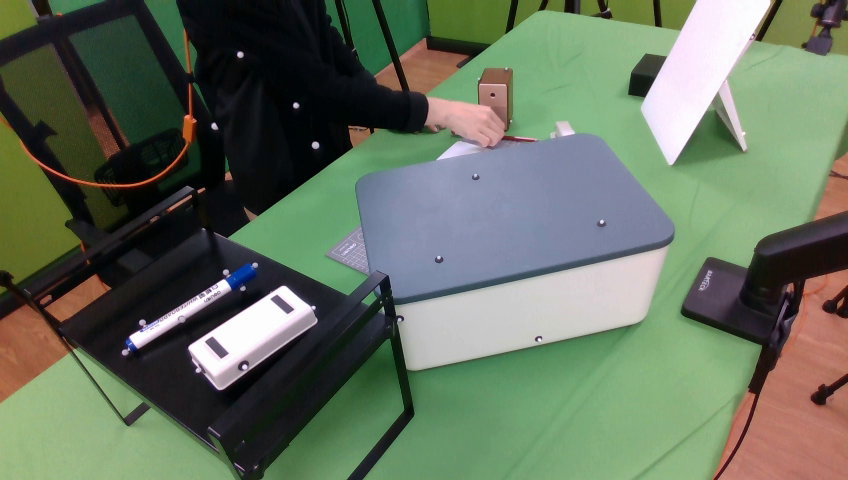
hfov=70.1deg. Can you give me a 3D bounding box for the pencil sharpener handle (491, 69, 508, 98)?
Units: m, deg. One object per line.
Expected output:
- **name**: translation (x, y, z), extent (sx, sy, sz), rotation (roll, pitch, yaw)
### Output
- **pencil sharpener handle**: translation (0.155, -0.329, 1.254), extent (0.036, 0.068, 0.030), rotation (17, 43, 4)

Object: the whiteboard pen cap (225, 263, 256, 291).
- **whiteboard pen cap**: translation (-0.204, 0.041, 0.668), extent (0.033, 0.018, 0.018), rotation (-36, 48, -22)

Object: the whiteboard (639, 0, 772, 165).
- **whiteboard**: translation (0.543, -0.298, 1.076), extent (0.144, 0.305, 0.216), rotation (12, 40, -7)

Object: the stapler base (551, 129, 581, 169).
- **stapler base**: translation (0.268, -0.178, 1.142), extent (0.041, 0.024, 0.130), rotation (0, 37, 3)

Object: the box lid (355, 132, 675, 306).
- **box lid**: translation (0.103, -0.042, 0.785), extent (0.372, 0.015, 0.261), rotation (-12, 41, -5)

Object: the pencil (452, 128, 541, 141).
- **pencil**: translation (0.147, -0.208, 1.205), extent (0.193, 0.012, 0.012), rotation (10, 43, 19)

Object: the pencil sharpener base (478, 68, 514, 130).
- **pencil sharpener base**: translation (0.148, -0.286, 1.225), extent (0.061, 0.107, 0.076), rotation (5, 42, 15)

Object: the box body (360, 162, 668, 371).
- **box body**: translation (0.108, 0.014, 0.833), extent (0.365, 0.161, 0.252), rotation (-11, 41, -5)

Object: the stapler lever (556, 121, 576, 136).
- **stapler lever**: translation (0.266, -0.198, 1.128), extent (0.027, 0.040, 0.117), rotation (0, 38, 3)

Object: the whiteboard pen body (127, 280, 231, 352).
- **whiteboard pen body**: translation (-0.248, 0.072, 0.645), extent (0.141, 0.017, 0.017), rotation (-35, 47, -23)

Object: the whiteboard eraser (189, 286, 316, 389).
- **whiteboard eraser**: translation (-0.166, 0.096, 0.593), extent (0.113, 0.042, 0.055), rotation (-36, 47, -29)
